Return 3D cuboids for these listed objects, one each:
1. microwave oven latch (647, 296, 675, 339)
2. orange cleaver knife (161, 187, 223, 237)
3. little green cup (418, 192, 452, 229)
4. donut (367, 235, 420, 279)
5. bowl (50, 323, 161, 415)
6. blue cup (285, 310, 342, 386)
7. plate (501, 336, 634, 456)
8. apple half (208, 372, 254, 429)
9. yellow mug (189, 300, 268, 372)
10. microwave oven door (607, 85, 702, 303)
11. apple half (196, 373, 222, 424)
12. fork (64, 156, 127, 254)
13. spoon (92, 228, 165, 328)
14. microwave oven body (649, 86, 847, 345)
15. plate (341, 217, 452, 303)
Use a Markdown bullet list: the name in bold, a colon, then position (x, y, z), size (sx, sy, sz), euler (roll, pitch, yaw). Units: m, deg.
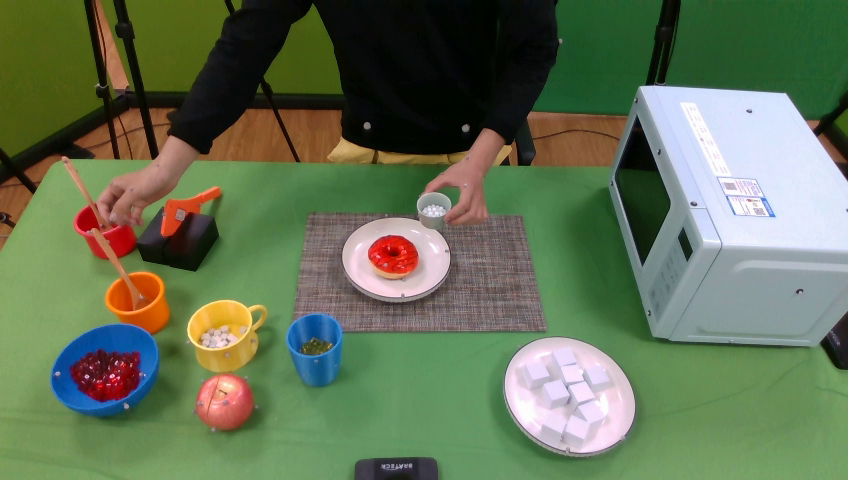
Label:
- **microwave oven latch**: position (0.413, 0.134, 1.061), size (0.030, 0.029, 0.078), euler (4, 45, 2)
- **orange cleaver knife**: position (-0.448, -0.059, 1.180), size (0.012, 0.077, 0.211), euler (13, 17, 6)
- **little green cup**: position (0.019, -0.051, 1.079), size (0.061, 0.039, 0.061), euler (0, 54, 0)
- **donut**: position (-0.056, 0.032, 1.132), size (0.099, 0.048, 0.098), euler (3, 45, -3)
- **bowl**: position (-0.472, 0.209, 0.924), size (0.151, 0.077, 0.150), euler (2, 45, -2)
- **blue cup**: position (-0.170, 0.179, 0.958), size (0.093, 0.101, 0.092), euler (2, 44, -2)
- **plate**: position (0.225, 0.248, 0.964), size (0.208, 0.039, 0.206), euler (2, 46, -2)
- **apple half**: position (-0.283, 0.244, 0.908), size (0.053, 0.075, 0.080), euler (7, 42, -1)
- **yellow mug**: position (-0.315, 0.149, 1.001), size (0.131, 0.064, 0.099), euler (-33, 55, -31)
- **microwave oven door**: position (0.423, -0.094, 1.141), size (0.039, 0.245, 0.353), euler (2, 46, -1)
- **apple half**: position (-0.322, 0.239, 0.906), size (0.033, 0.081, 0.081), euler (7, 46, 0)
- **fork**: position (-0.614, -0.064, 1.129), size (0.028, 0.018, 0.207), euler (-30, 97, -16)
- **spoon**: position (-0.496, 0.063, 1.014), size (0.041, 0.194, 0.021), euler (-33, 13, -30)
- **microwave oven body**: position (0.568, -0.053, 1.118), size (0.326, 0.261, 0.439), euler (2, 45, -1)
- **plate**: position (-0.052, 0.039, 1.140), size (0.209, 0.038, 0.208), euler (2, 46, -2)
